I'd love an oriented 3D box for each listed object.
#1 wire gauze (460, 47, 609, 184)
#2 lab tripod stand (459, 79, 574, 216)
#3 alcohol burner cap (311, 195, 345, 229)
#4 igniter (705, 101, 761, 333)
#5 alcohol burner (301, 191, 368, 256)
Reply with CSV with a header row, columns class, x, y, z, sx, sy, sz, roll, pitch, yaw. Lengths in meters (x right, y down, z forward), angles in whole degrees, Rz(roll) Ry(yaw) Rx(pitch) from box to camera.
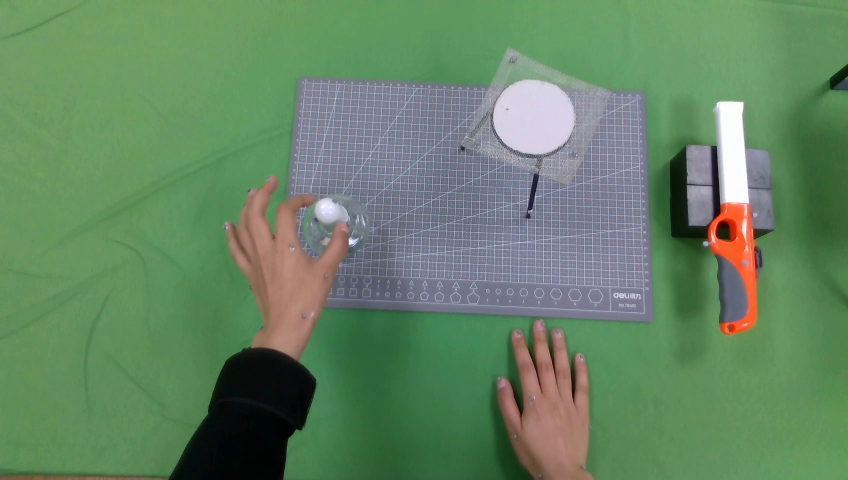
class,x,y,z,sx,sy,sz,roll,pitch,yaw
wire gauze,0.117,-0.131,0.634,0.121,0.011,0.124,25,76,5
lab tripod stand,0.115,-0.118,0.700,0.148,0.132,0.147,0,75,0
alcohol burner cap,-0.105,-0.032,0.651,0.034,0.048,0.033,0,79,3
igniter,0.351,-0.031,0.693,0.057,0.025,0.275,3,76,6
alcohol burner,-0.103,-0.023,0.685,0.078,0.119,0.077,0,78,-2
